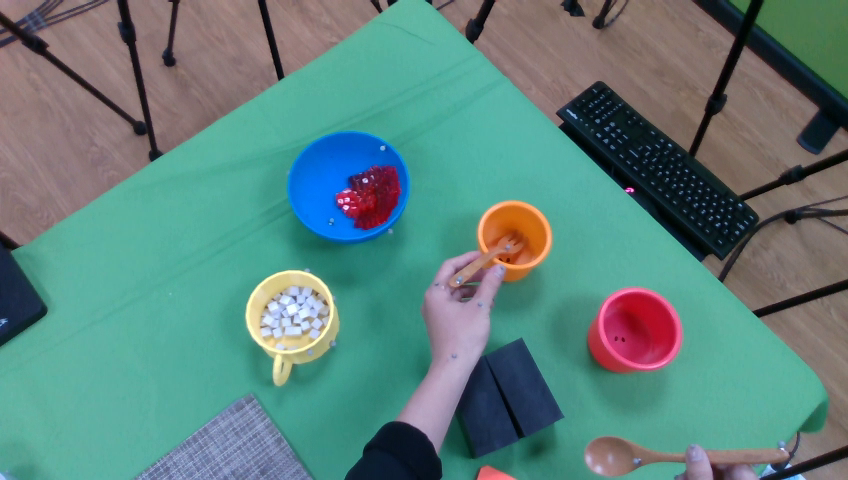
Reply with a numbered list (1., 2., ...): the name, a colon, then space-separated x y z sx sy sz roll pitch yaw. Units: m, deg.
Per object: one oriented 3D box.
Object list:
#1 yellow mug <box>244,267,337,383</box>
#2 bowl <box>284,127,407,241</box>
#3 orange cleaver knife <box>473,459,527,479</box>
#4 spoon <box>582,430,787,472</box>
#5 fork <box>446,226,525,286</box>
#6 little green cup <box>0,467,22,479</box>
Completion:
1. yellow mug: -0.159 0.103 0.717 0.100 0.064 0.130 8 70 0
2. bowl: -0.097 -0.060 0.776 0.151 0.077 0.150 1 70 -3
3. orange cleaver knife: 0.138 0.327 0.672 0.210 0.012 0.077 33 64 11
4. spoon: 0.239 0.203 0.579 0.022 0.193 0.041 9 70 -42
5. fork: 0.076 0.016 0.717 0.028 0.019 0.207 42 29 13
6. little green cup: -0.467 0.274 0.651 0.061 0.039 0.061 1 69 -2
